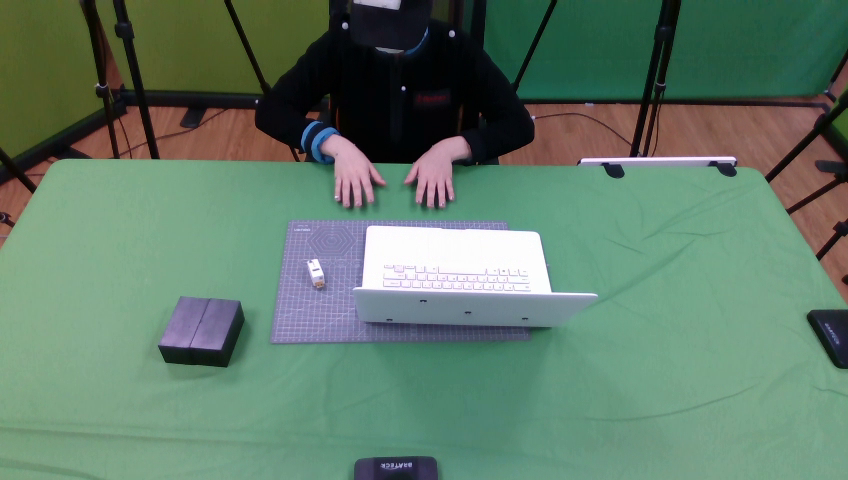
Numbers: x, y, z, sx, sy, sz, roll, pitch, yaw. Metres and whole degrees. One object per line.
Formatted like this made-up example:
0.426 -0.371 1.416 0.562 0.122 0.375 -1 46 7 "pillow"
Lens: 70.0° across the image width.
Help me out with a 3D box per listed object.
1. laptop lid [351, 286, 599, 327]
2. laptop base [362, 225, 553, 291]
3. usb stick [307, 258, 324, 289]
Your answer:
0.068 0.109 0.953 0.357 0.242 0.013 2 71 -4 "laptop lid"
0.061 0.063 1.145 0.354 0.023 0.234 2 43 -3 "laptop base"
-0.198 0.064 1.114 0.021 0.027 0.059 -13 51 -18 "usb stick"
